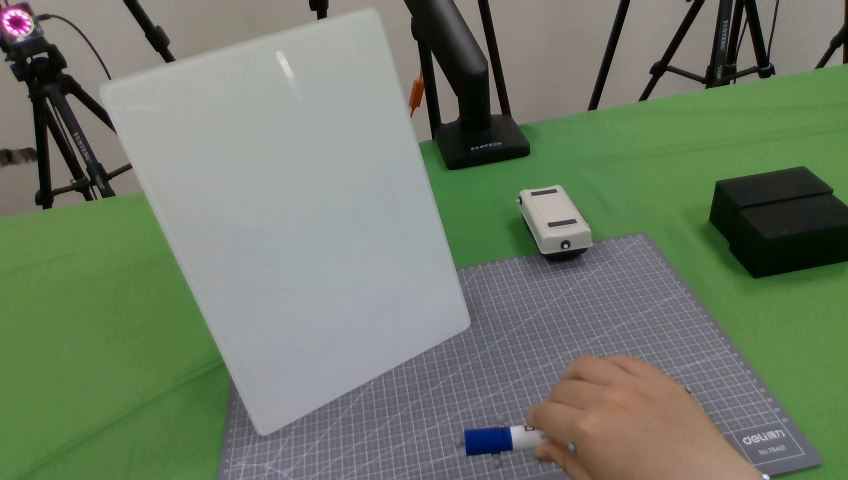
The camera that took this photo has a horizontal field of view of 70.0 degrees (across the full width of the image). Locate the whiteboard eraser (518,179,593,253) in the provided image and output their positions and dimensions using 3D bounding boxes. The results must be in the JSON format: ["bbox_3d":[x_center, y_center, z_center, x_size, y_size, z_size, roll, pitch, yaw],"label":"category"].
[{"bbox_3d":[0.144,-0.027,0.676,0.055,0.042,0.111,-11,33,-1],"label":"whiteboard eraser"}]

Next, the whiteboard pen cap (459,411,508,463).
[{"bbox_3d":[0.039,0.131,0.403,0.033,0.018,0.018,-47,47,-8],"label":"whiteboard pen cap"}]

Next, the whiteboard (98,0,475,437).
[{"bbox_3d":[-0.114,-0.026,0.554,0.217,0.307,0.142,-25,21,-19],"label":"whiteboard"}]

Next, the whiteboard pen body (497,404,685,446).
[{"bbox_3d":[0.102,0.124,0.403,0.141,0.017,0.017,-7,37,3],"label":"whiteboard pen body"}]
